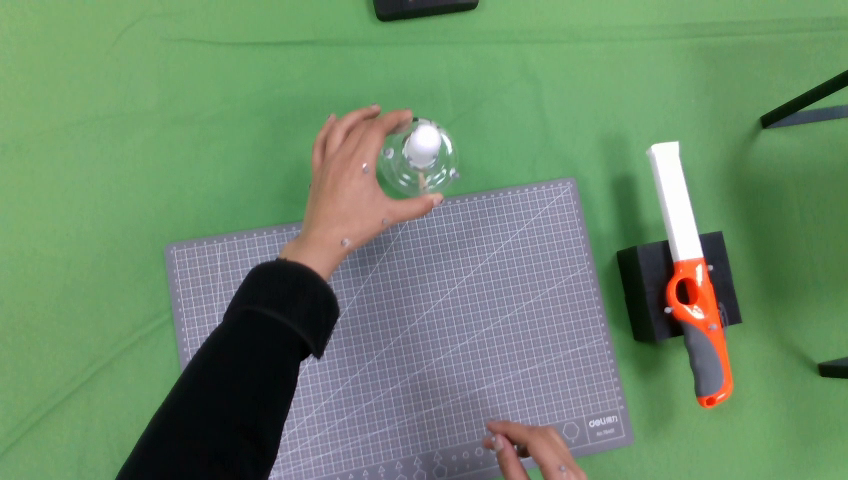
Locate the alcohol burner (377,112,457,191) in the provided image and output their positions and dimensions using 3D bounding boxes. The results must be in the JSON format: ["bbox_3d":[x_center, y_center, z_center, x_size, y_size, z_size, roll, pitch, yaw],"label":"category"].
[{"bbox_3d":[-0.004,-0.088,0.568,0.078,0.119,0.077,1,83,-9],"label":"alcohol burner"}]

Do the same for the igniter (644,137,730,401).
[{"bbox_3d":[0.274,0.026,0.634,0.057,0.025,0.275,-7,81,-8],"label":"igniter"}]

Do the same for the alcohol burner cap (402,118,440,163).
[{"bbox_3d":[-0.002,-0.090,0.538,0.034,0.048,0.034,1,82,-7],"label":"alcohol burner cap"}]
